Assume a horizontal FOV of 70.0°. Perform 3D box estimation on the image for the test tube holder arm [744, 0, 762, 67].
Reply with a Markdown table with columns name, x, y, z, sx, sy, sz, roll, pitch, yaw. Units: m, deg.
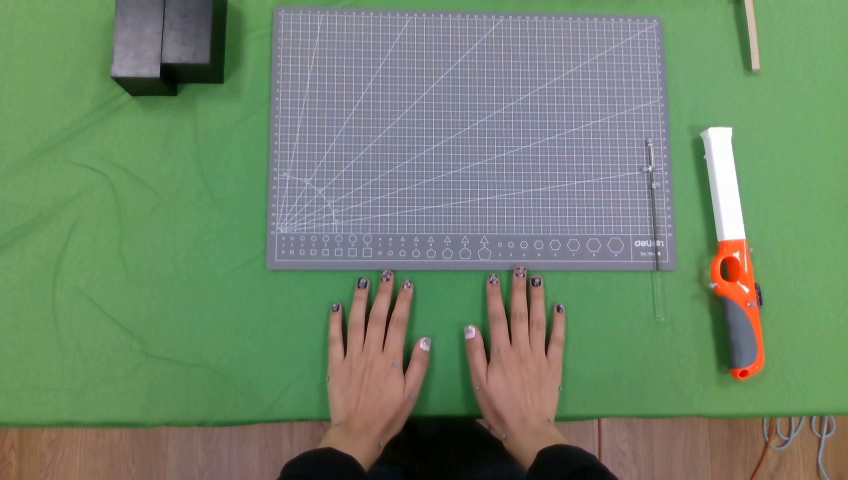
| name | x | y | z | sx | sy | sz | roll | pitch | yaw |
| --- | --- | --- | --- | --- | --- | --- | --- | --- | --- |
| test tube holder arm | 0.380 | -0.291 | 0.715 | 0.013 | 0.015 | 0.178 | -12 | 82 | 31 |

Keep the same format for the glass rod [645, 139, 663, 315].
| name | x | y | z | sx | sy | sz | roll | pitch | yaw |
| --- | --- | --- | --- | --- | --- | --- | --- | --- | --- |
| glass rod | 0.255 | -0.016 | 0.674 | 0.008 | 0.008 | 0.199 | -1 | 82 | -3 |

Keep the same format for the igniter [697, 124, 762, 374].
| name | x | y | z | sx | sy | sz | roll | pitch | yaw |
| --- | --- | --- | --- | --- | --- | --- | --- | --- | --- |
| igniter | 0.337 | 0.007 | 0.669 | 0.057 | 0.025 | 0.275 | -2 | 82 | -13 |
